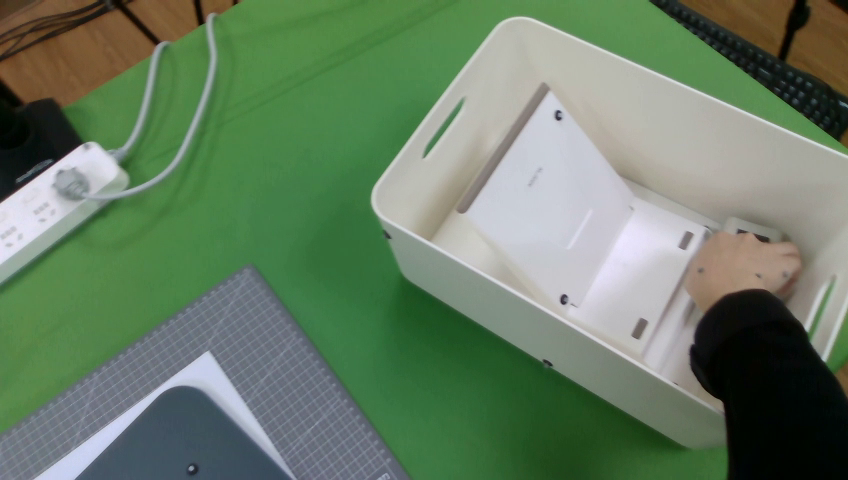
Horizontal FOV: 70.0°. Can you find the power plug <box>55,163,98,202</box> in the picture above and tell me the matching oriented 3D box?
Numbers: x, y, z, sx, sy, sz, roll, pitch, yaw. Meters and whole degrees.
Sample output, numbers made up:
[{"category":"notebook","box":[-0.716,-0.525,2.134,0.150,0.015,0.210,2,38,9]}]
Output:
[{"category":"power plug","box":[-0.379,-0.054,0.666,0.035,0.053,0.072,-32,74,-11]}]

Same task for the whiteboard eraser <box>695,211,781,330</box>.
[{"category":"whiteboard eraser","box":[0.309,0.029,0.595,0.055,0.042,0.112,17,70,19]}]

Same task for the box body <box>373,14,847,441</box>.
[{"category":"box body","box":[0.171,-0.010,0.569,0.362,0.161,0.253,30,70,15]}]

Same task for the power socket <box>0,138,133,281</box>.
[{"category":"power socket","box":[-0.435,-0.031,0.683,0.226,0.033,0.071,-41,71,-15]}]

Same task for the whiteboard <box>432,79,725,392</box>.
[{"category":"whiteboard","box":[0.165,-0.015,0.582,0.304,0.145,0.216,29,70,17]}]

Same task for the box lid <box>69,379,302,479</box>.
[{"category":"box lid","box":[-0.188,0.323,0.520,0.369,0.015,0.263,38,73,17]}]
